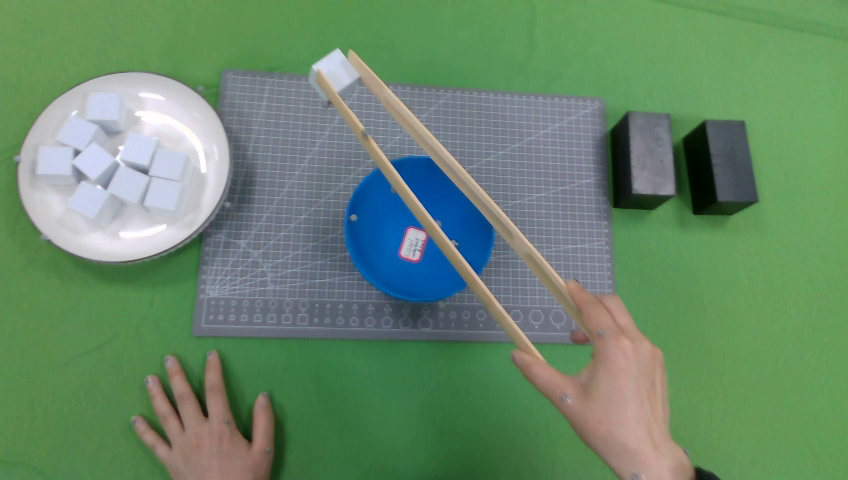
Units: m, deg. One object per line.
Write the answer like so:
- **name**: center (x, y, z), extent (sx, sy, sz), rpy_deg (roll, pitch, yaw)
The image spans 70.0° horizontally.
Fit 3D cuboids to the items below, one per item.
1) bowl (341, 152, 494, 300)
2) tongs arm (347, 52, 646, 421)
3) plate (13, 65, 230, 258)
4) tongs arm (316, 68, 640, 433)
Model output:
- **bowl**: center (-0.010, -0.006, 0.627), extent (0.152, 0.077, 0.150), rpy_deg (2, 75, -8)
- **tongs arm**: center (0.053, -0.012, 0.507), extent (0.028, 0.028, 0.386), rpy_deg (-35, 81, -26)
- **plate**: center (-0.306, -0.080, 0.628), extent (0.208, 0.039, 0.206), rpy_deg (2, 76, -6)
- **tongs arm**: center (0.036, 0.001, 0.498), extent (0.051, 0.026, 0.383), rpy_deg (-31, 79, -21)
